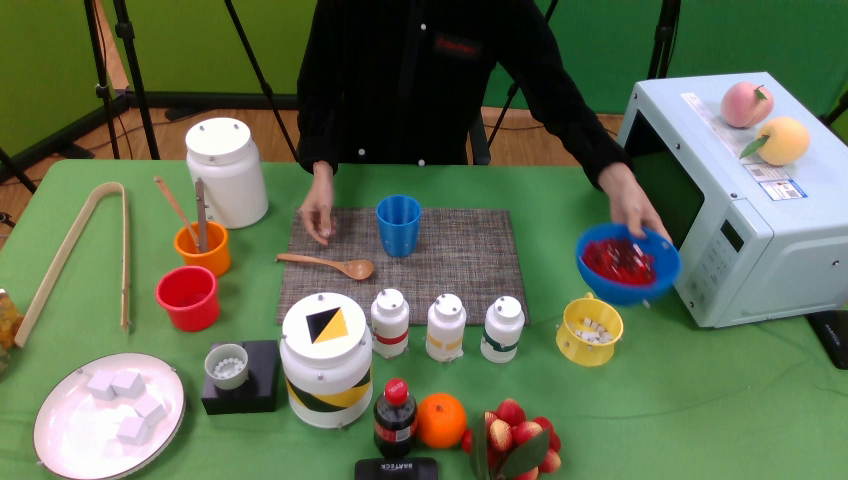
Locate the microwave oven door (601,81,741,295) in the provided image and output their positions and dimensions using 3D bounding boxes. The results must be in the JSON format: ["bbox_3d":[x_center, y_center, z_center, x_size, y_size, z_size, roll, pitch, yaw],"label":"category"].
[{"bbox_3d":[0.455,-0.107,1.162,0.039,0.245,0.353,-6,47,-11],"label":"microwave oven door"}]

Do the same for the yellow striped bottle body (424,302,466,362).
[{"bbox_3d":[0.035,0.143,0.995,0.063,0.121,0.062,3,46,-3],"label":"yellow striped bottle body"}]

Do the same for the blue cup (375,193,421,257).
[{"bbox_3d":[-0.049,-0.022,1.155,0.093,0.101,0.092,1,47,-1],"label":"blue cup"}]

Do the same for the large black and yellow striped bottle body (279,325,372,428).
[{"bbox_3d":[-0.143,0.181,0.900,0.131,0.185,0.130,2,46,-2],"label":"large black and yellow striped bottle body"}]

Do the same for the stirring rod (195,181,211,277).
[{"bbox_3d":[-0.403,-0.020,1.104,0.014,0.006,0.176,-6,89,-9],"label":"stirring rod"}]

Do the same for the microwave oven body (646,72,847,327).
[{"bbox_3d":[0.607,-0.089,1.164,0.326,0.261,0.438,-7,46,-10],"label":"microwave oven body"}]

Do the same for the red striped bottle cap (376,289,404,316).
[{"bbox_3d":[-0.055,0.098,0.958,0.044,0.018,0.044,0,48,0],"label":"red striped bottle cap"}]

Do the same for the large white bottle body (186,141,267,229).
[{"bbox_3d":[-0.383,-0.127,1.175,0.131,0.185,0.130,2,47,-2],"label":"large white bottle body"}]

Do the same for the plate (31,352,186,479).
[{"bbox_3d":[-0.459,0.262,0.898,0.209,0.038,0.208,2,46,-2],"label":"plate"}]

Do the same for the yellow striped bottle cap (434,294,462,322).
[{"bbox_3d":[0.038,0.107,0.958,0.044,0.019,0.044,2,45,-2],"label":"yellow striped bottle cap"}]

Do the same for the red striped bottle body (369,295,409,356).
[{"bbox_3d":[-0.059,0.134,0.997,0.063,0.120,0.062,5,48,-5],"label":"red striped bottle body"}]

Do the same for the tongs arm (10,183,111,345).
[{"bbox_3d":[-0.658,0.027,1.109,0.028,0.028,0.385,-2,45,2],"label":"tongs arm"}]

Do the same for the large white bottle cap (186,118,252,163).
[{"bbox_3d":[-0.377,-0.185,1.115,0.115,0.018,0.114,2,47,-2],"label":"large white bottle cap"}]

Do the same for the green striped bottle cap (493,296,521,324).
[{"bbox_3d":[0.132,0.111,0.963,0.044,0.020,0.044,2,48,-2],"label":"green striped bottle cap"}]

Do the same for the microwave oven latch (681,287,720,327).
[{"bbox_3d":[0.494,0.119,1.087,0.030,0.029,0.078,-5,46,-9],"label":"microwave oven latch"}]

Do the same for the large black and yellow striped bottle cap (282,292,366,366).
[{"bbox_3d":[-0.138,0.121,0.841,0.115,0.019,0.114,3,47,-3],"label":"large black and yellow striped bottle cap"}]

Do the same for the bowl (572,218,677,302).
[{"bbox_3d":[0.297,0.041,0.923,0.151,0.077,0.150,0,40,0],"label":"bowl"}]

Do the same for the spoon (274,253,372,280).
[{"bbox_3d":[-0.191,0.043,1.136,0.193,0.022,0.041,10,68,6],"label":"spoon"}]

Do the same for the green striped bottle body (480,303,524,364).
[{"bbox_3d":[0.129,0.147,1.000,0.063,0.120,0.063,2,46,-2],"label":"green striped bottle body"}]

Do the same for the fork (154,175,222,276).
[{"bbox_3d":[-0.431,-0.027,1.101,0.028,0.018,0.207,-33,100,-25],"label":"fork"}]

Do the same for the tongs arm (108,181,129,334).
[{"bbox_3d":[-0.571,0.019,1.123,0.051,0.026,0.382,-11,47,-12],"label":"tongs arm"}]

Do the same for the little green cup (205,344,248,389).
[{"bbox_3d":[-0.294,0.191,0.909,0.061,0.039,0.061,1,47,-1],"label":"little green cup"}]

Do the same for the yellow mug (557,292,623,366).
[{"bbox_3d":[0.285,0.146,1.051,0.100,0.064,0.130,7,45,4],"label":"yellow mug"}]
